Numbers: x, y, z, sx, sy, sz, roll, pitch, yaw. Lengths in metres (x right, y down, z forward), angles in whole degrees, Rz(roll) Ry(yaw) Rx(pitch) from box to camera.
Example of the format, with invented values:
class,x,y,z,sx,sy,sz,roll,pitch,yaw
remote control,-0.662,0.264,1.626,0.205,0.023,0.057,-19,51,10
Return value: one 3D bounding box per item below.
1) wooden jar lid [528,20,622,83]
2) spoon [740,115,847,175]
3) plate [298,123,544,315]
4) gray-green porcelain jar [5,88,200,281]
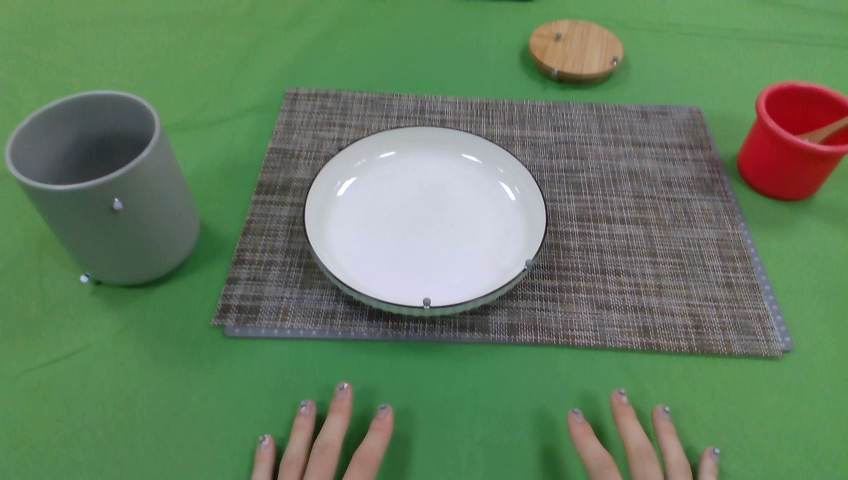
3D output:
class,x,y,z,sx,sy,sz,roll,pitch,yaw
wooden jar lid,0.175,-0.219,0.707,0.108,0.021,0.107,1,53,-1
spoon,0.388,-0.107,0.545,0.193,0.022,0.041,-27,41,35
plate,-0.002,-0.019,0.526,0.208,0.039,0.205,1,52,-1
gray-green porcelain jar,-0.243,-0.037,0.480,0.106,0.127,0.105,1,51,-1
